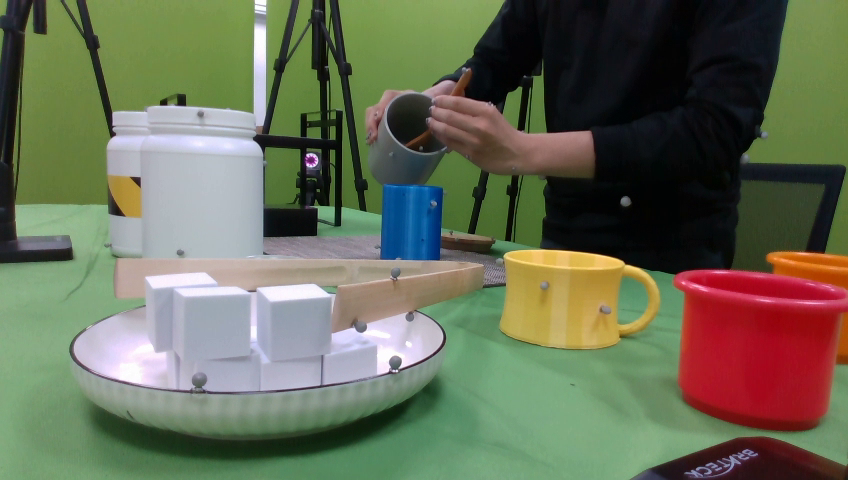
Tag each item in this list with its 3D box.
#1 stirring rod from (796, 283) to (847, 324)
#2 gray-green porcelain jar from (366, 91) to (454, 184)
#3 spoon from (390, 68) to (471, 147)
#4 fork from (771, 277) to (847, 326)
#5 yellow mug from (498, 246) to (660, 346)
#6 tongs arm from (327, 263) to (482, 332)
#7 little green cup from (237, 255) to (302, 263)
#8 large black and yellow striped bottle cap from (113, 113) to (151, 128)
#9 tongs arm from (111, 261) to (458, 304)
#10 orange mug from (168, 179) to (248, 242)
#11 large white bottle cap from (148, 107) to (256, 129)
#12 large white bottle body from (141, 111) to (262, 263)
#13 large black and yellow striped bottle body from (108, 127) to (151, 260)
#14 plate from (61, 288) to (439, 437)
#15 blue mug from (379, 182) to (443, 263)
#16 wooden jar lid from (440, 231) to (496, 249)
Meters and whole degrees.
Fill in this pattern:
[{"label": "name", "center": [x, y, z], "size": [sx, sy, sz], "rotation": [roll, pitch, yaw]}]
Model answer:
[{"label": "stirring rod", "center": [0.346, 0.019, 0.460], "size": [0.014, 0.176, 0.006], "rotation": [-17, 59, -26]}, {"label": "gray-green porcelain jar", "center": [-0.025, -0.140, 0.894], "size": [0.106, 0.105, 0.126], "rotation": [-1, -24, -20]}, {"label": "spoon", "center": [0.003, -0.176, 0.850], "size": [0.042, 0.021, 0.193], "rotation": [22, -37, -31]}, {"label": "fork", "center": [0.335, 0.018, 0.443], "size": [0.028, 0.018, 0.207], "rotation": [-1, -36, -20]}, {"label": "yellow mug", "center": [0.130, 0.045, 0.508], "size": [0.131, 0.064, 0.100], "rotation": [4, 7, 6]}, {"label": "tongs arm", "center": [-0.003, 0.036, 0.493], "size": [0.050, 0.026, 0.386], "rotation": [1, 0, 19]}, {"label": "little green cup", "center": [-0.150, 0.038, 0.590], "size": [0.061, 0.038, 0.061], "rotation": [3, 6, 0]}, {"label": "large black and yellow striped bottle cap", "center": [-0.348, -0.154, 0.800], "size": [0.115, 0.019, 0.115], "rotation": [2, 6, 0]}, {"label": "tongs arm", "center": [-0.080, 0.032, 0.527], "size": [0.028, 0.027, 0.389], "rotation": [-3, -3, 33]}, {"label": "orange mug", "center": [-0.351, -0.050, 0.986], "size": [0.126, 0.101, 0.083], "rotation": [-3, 8, -9]}, {"label": "large white bottle cap", "center": [-0.250, -0.137, 0.686], "size": [0.115, 0.018, 0.115], "rotation": [2, 8, 0]}, {"label": "large white bottle body", "center": [-0.254, -0.053, 0.697], "size": [0.131, 0.184, 0.130], "rotation": [2, 7, 0]}, {"label": "large black and yellow striped bottle body", "center": [-0.350, -0.071, 0.812], "size": [0.131, 0.184, 0.130], "rotation": [2, 8, 0]}, {"label": "plate", "center": [-0.095, 0.069, 0.362], "size": [0.208, 0.039, 0.207], "rotation": [3, 7, 0]}, {"label": "blue mug", "center": [-0.020, -0.026, 0.833], "size": [0.082, 0.106, 0.116], "rotation": [1, 7, -7]}, {"label": "wooden jar lid", "center": [0.066, 0.000, 1.011], "size": [0.108, 0.020, 0.108], "rotation": [6, 7, 0]}]
